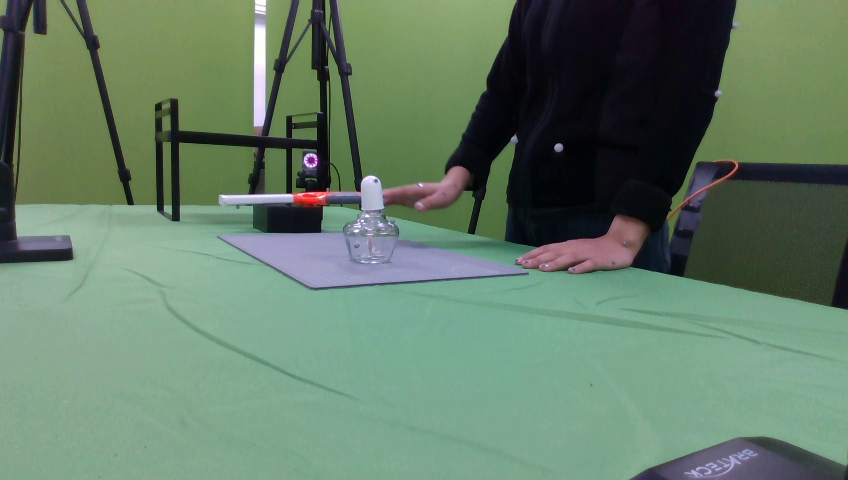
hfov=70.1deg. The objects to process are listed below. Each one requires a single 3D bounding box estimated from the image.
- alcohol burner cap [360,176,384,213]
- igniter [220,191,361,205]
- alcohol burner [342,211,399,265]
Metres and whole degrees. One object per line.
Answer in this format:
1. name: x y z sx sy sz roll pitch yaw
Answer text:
1. alcohol burner cap: -0.071 -0.062 0.814 0.034 0.048 0.034 -2 12 1
2. igniter: -0.243 -0.079 1.152 0.278 0.025 0.057 -3 12 -27
3. alcohol burner: -0.073 -0.027 0.818 0.078 0.119 0.078 1 6 0
